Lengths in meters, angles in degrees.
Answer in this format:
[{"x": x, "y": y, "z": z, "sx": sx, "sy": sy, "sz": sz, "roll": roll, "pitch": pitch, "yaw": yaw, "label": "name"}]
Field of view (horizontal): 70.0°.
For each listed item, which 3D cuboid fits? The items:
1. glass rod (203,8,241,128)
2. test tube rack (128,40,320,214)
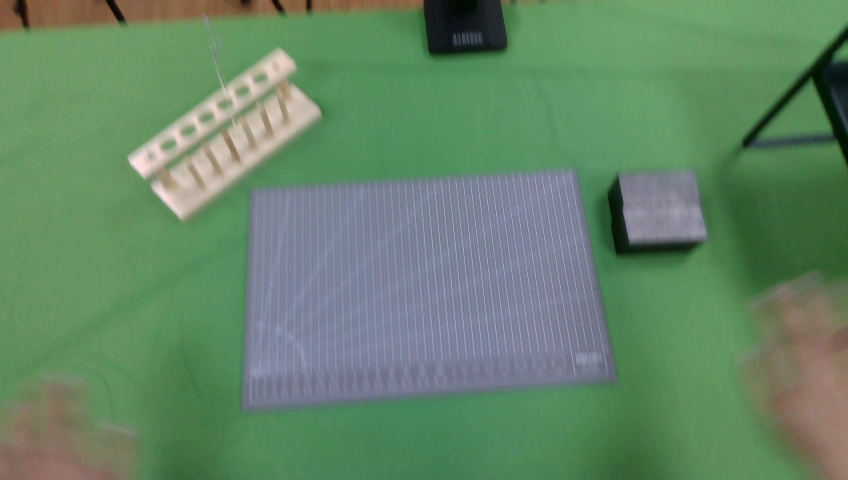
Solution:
[{"x": -0.249, "y": -0.207, "z": 0.756, "sx": 0.008, "sy": 0.201, "sz": 0.008, "roll": 2, "pitch": 61, "yaw": -4, "label": "glass rod"}, {"x": -0.255, "y": -0.150, "z": 0.804, "sx": 0.066, "sy": 0.086, "sz": 0.242, "roll": 43, "pitch": 74, "yaw": 15, "label": "test tube rack"}]
